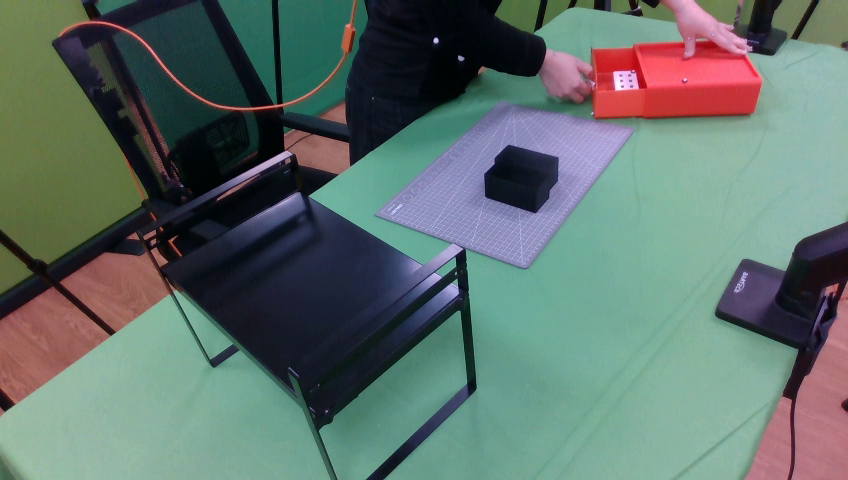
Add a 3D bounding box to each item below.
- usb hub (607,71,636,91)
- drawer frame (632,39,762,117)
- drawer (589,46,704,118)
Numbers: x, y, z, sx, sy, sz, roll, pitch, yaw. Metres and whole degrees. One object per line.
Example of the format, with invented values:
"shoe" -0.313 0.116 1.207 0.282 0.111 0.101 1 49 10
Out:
"usb hub" 0.412 -0.320 1.264 0.049 0.025 0.125 9 37 20
"drawer frame" 0.540 -0.332 1.234 0.213 0.083 0.201 0 41 7
"drawer" 0.450 -0.332 1.248 0.211 0.073 0.194 1 41 10
